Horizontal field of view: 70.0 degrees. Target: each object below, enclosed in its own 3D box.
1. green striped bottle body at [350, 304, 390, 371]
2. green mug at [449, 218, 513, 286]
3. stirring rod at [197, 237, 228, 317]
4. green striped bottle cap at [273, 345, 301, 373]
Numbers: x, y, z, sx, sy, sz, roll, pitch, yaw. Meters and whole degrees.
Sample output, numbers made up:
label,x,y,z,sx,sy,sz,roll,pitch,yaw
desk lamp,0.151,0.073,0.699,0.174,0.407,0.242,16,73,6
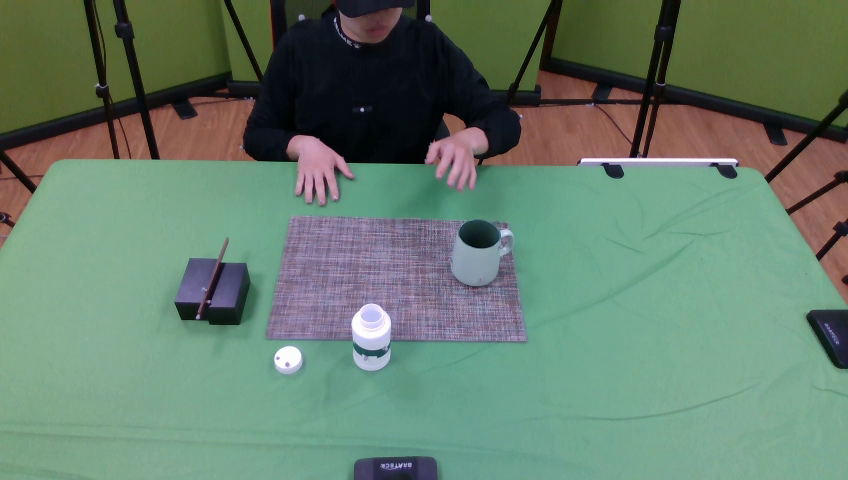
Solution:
label,x,y,z,sx,sy,sz,roll,pitch,yaw
green striped bottle body,-0.086,0.154,0.976,0.063,0.120,0.063,2,47,-2
green mug,0.110,0.018,1.126,0.125,0.105,0.092,-19,50,-21
stirring rod,-0.364,0.060,1.047,0.006,0.014,0.175,7,46,-4
green striped bottle cap,-0.225,0.195,0.997,0.044,0.020,0.044,1,50,-1
